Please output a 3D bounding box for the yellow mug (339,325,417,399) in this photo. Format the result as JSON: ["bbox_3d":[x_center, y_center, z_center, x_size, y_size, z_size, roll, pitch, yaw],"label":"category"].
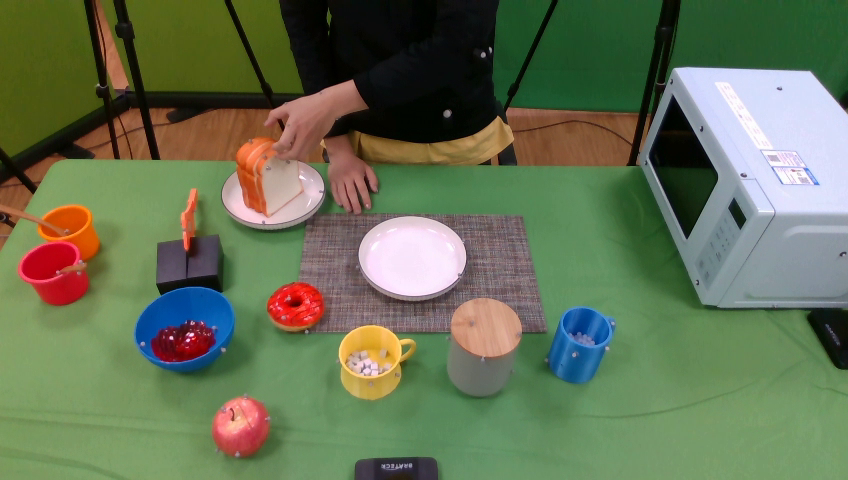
[{"bbox_3d":[-0.072,0.191,0.978,0.131,0.064,0.099,-17,49,-20],"label":"yellow mug"}]

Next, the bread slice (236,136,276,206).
[{"bbox_3d":[-0.332,-0.147,1.225,0.019,0.132,0.105,25,47,26],"label":"bread slice"}]

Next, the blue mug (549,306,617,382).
[{"bbox_3d":[0.269,0.166,0.998,0.116,0.106,0.082,-19,51,-21],"label":"blue mug"}]

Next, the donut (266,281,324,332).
[{"bbox_3d":[-0.222,0.114,1.049,0.099,0.048,0.098,2,46,-2],"label":"donut"}]

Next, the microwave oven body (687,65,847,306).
[{"bbox_3d":[0.669,-0.111,1.176,0.326,0.261,0.439,0,46,-3],"label":"microwave oven body"}]

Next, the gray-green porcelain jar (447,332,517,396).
[{"bbox_3d":[0.091,0.178,0.960,0.106,0.127,0.105,2,46,-2],"label":"gray-green porcelain jar"}]

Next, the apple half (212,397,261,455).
[{"bbox_3d":[-0.276,0.276,0.877,0.053,0.075,0.080,-29,58,-21],"label":"apple half"}]

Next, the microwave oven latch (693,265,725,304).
[{"bbox_3d":[0.522,0.081,1.115,0.030,0.029,0.078,2,46,-1],"label":"microwave oven latch"}]

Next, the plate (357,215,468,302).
[{"bbox_3d":[-0.022,0.037,1.141,0.208,0.039,0.206,2,46,-2],"label":"plate"}]

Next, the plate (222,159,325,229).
[{"bbox_3d":[-0.308,-0.095,1.251,0.209,0.038,0.208,2,46,-2],"label":"plate"}]

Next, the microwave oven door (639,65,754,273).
[{"bbox_3d":[0.522,-0.147,1.193,0.039,0.245,0.353,0,47,-3],"label":"microwave oven door"}]

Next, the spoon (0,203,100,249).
[{"bbox_3d":[-0.683,-0.031,1.088,0.021,0.195,0.041,-35,43,25],"label":"spoon"}]

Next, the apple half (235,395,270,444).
[{"bbox_3d":[-0.245,0.259,0.893,0.033,0.082,0.081,-29,55,-22],"label":"apple half"}]

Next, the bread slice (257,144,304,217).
[{"bbox_3d":[-0.290,-0.124,1.206,0.018,0.135,0.107,25,53,23],"label":"bread slice"}]

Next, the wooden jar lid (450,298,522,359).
[{"bbox_3d":[0.093,0.135,0.914,0.108,0.021,0.107,2,48,-3],"label":"wooden jar lid"}]

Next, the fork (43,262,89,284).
[{"bbox_3d":[-0.599,0.053,1.013,0.207,0.019,0.028,-14,30,45],"label":"fork"}]

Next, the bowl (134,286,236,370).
[{"bbox_3d":[-0.377,0.155,0.981,0.151,0.077,0.150,2,46,-2],"label":"bowl"}]

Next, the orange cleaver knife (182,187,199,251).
[{"bbox_3d":[-0.445,-0.045,1.163,0.012,0.077,0.210,-5,24,-13],"label":"orange cleaver knife"}]
